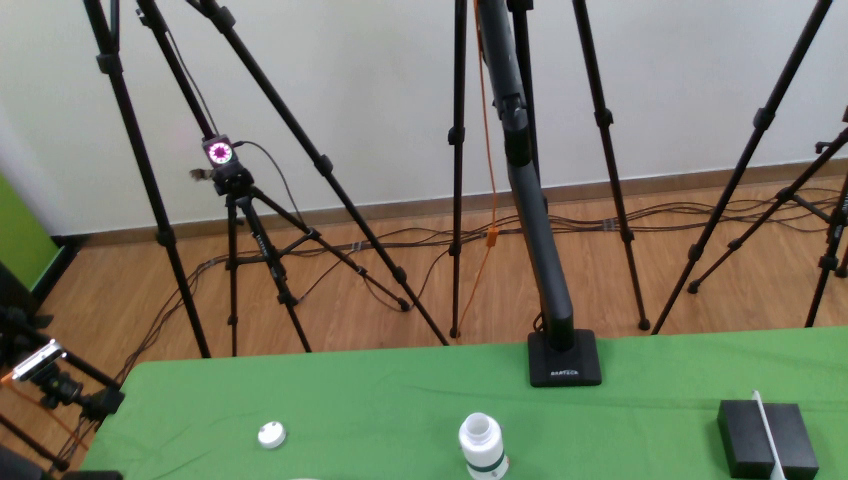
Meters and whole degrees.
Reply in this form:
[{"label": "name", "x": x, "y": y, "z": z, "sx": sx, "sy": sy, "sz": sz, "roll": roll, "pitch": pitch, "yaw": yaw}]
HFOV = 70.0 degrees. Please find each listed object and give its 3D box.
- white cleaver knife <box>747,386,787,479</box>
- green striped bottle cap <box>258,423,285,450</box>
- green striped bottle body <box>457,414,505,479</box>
[{"label": "white cleaver knife", "x": 0.483, "y": 0.327, "z": 0.825, "sx": 0.021, "sy": 0.066, "sz": 0.284, "roll": -7, "pitch": 39, "yaw": 18}, {"label": "green striped bottle cap", "x": -0.266, "y": 0.342, "z": 1.055, "sx": 0.044, "sy": 0.020, "sz": 0.044, "roll": -8, "pitch": 41, "yaw": 8}, {"label": "green striped bottle body", "x": 0.086, "y": 0.311, "z": 0.914, "sx": 0.063, "sy": 0.120, "sz": 0.062, "roll": -8, "pitch": 41, "yaw": 7}]
